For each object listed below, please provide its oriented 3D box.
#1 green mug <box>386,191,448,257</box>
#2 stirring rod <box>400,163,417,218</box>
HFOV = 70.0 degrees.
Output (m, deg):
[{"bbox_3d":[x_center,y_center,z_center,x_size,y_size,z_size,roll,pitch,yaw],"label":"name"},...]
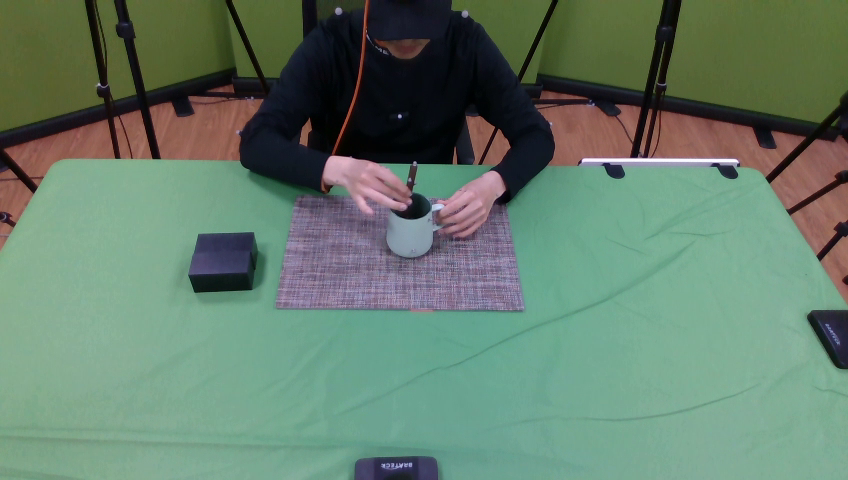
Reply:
[{"bbox_3d":[-0.012,-0.034,1.165,0.125,0.105,0.092,-17,49,-19],"label":"green mug"},{"bbox_3d":[-0.032,-0.078,1.136,0.014,0.177,0.006,4,48,-9],"label":"stirring rod"}]
